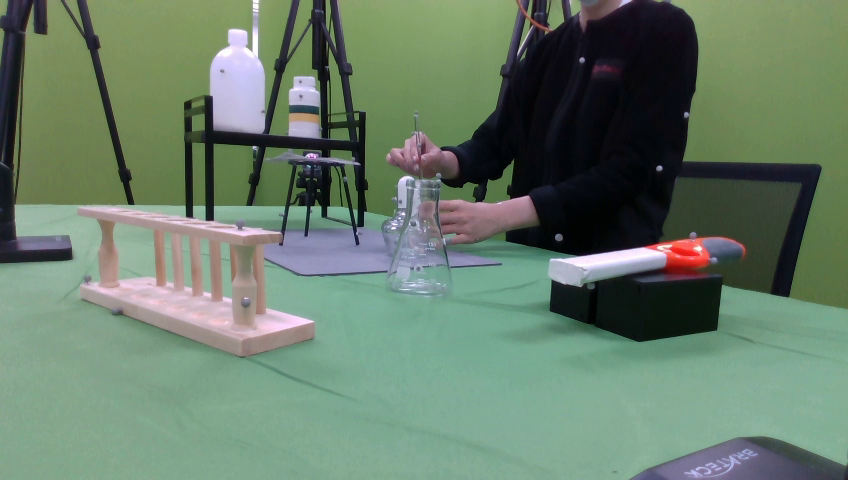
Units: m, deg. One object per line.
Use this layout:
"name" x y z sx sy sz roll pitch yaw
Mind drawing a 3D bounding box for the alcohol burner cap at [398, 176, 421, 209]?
"alcohol burner cap" -0.023 -0.068 0.866 0.034 0.048 0.034 -5 8 1

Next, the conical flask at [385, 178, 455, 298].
"conical flask" -0.002 -0.004 0.639 0.075 0.122 0.075 2 7 0

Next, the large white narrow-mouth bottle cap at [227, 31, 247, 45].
"large white narrow-mouth bottle cap" -0.361 -0.389 1.166 0.038 0.024 0.037 1 7 0

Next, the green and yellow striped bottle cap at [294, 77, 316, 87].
"green and yellow striped bottle cap" -0.247 -0.326 1.251 0.045 0.020 0.045 0 10 0

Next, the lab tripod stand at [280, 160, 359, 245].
"lab tripod stand" -0.176 -0.062 0.973 0.148 0.131 0.148 1 7 0

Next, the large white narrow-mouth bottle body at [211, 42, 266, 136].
"large white narrow-mouth bottle body" -0.361 -0.302 1.176 0.102 0.194 0.102 1 7 0

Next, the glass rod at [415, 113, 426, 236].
"glass rod" -0.006 -0.105 0.983 0.008 0.199 0.008 -3 12 1

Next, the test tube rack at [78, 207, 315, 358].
"test tube rack" -0.196 0.023 0.500 0.241 0.085 0.067 8 8 37

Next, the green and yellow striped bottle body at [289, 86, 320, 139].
"green and yellow striped bottle body" -0.249 -0.272 1.259 0.063 0.119 0.063 2 8 0

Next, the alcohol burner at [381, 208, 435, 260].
"alcohol burner" -0.023 -0.032 0.871 0.078 0.119 0.078 0 6 0

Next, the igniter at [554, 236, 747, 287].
"igniter" 0.221 0.017 0.558 0.278 0.025 0.057 -5 15 -39

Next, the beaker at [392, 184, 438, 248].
"beaker" -0.013 -0.040 0.993 0.074 0.100 0.083 -5 11 -42

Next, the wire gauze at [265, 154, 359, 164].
"wire gauze" -0.181 -0.129 0.969 0.126 0.011 0.121 -1 7 -27
